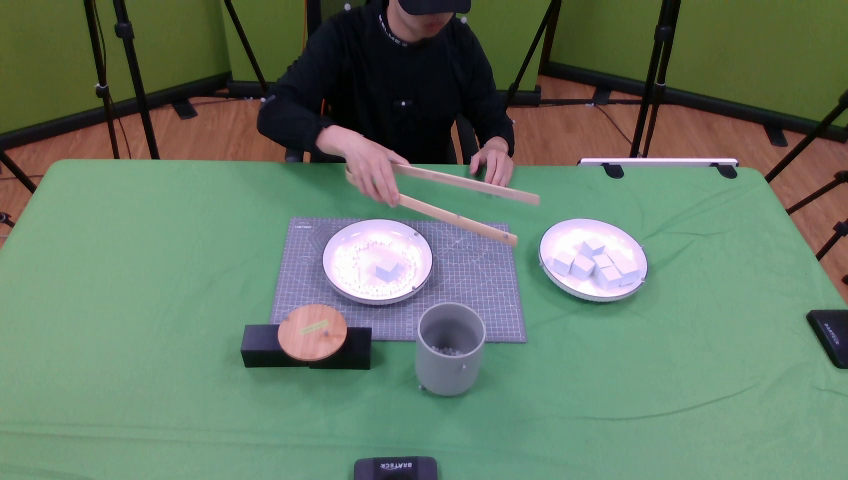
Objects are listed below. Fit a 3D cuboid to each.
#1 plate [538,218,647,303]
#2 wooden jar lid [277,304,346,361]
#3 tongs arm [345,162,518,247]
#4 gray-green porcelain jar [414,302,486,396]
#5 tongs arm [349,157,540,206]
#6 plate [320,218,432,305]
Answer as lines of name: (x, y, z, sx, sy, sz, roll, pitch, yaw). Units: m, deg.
plate: (0.322, 0.042, 1.171, 0.208, 0.039, 0.206, 2, 46, -2)
wooden jar lid: (-0.179, 0.150, 0.972, 0.108, 0.021, 0.107, 2, 45, -2)
tongs arm: (0.005, -0.072, 1.143, 0.383, 0.027, 0.050, 20, 51, 21)
gray-green porcelain jar: (0.038, 0.177, 0.958, 0.106, 0.127, 0.105, 2, 46, -2)
tongs arm: (0.035, -0.115, 1.185, 0.387, 0.028, 0.028, 13, 52, 15)
plate: (-0.088, 0.044, 1.134, 0.209, 0.038, 0.208, 3, 46, -2)
